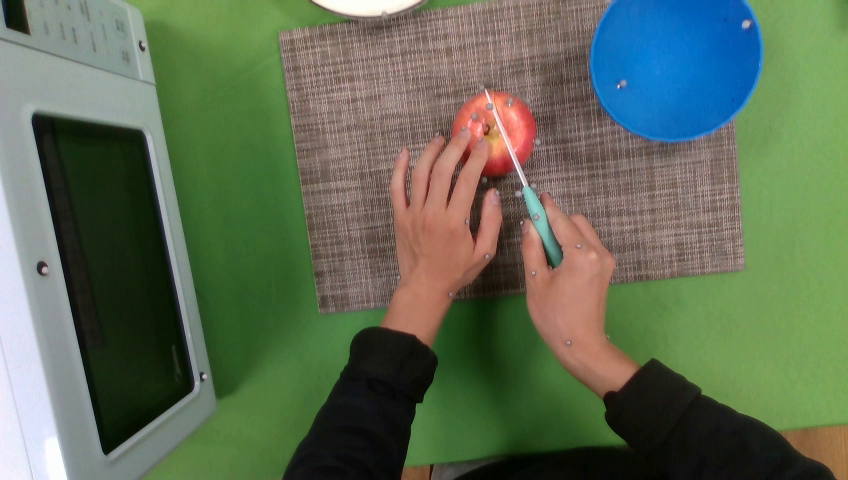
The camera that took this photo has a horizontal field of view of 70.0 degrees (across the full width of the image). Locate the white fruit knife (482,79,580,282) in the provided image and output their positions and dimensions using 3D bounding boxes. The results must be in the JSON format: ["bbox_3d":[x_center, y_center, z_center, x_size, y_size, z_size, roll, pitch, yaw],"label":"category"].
[{"bbox_3d":[0.096,-0.050,0.552,0.016,0.027,0.208,-23,101,20],"label":"white fruit knife"}]

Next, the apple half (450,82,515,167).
[{"bbox_3d":[0.053,-0.108,0.591,0.053,0.074,0.081,-18,100,12],"label":"apple half"}]

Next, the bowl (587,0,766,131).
[{"bbox_3d":[0.223,-0.175,0.567,0.151,0.076,0.151,1,97,5],"label":"bowl"}]

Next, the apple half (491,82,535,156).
[{"bbox_3d":[0.090,-0.120,0.585,0.033,0.081,0.081,-19,95,11],"label":"apple half"}]

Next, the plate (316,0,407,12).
[{"bbox_3d":[-0.061,-0.328,0.593,0.207,0.039,0.208,0,98,4],"label":"plate"}]

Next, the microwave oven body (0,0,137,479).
[{"bbox_3d":[-0.425,0.003,0.547,0.326,0.259,0.442,-9,97,5],"label":"microwave oven body"}]

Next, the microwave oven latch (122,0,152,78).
[{"bbox_3d":[-0.299,-0.203,0.608,0.030,0.029,0.079,-9,97,5],"label":"microwave oven latch"}]

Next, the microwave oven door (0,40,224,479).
[{"bbox_3d":[-0.275,0.024,0.534,0.039,0.243,0.356,-9,96,6],"label":"microwave oven door"}]
